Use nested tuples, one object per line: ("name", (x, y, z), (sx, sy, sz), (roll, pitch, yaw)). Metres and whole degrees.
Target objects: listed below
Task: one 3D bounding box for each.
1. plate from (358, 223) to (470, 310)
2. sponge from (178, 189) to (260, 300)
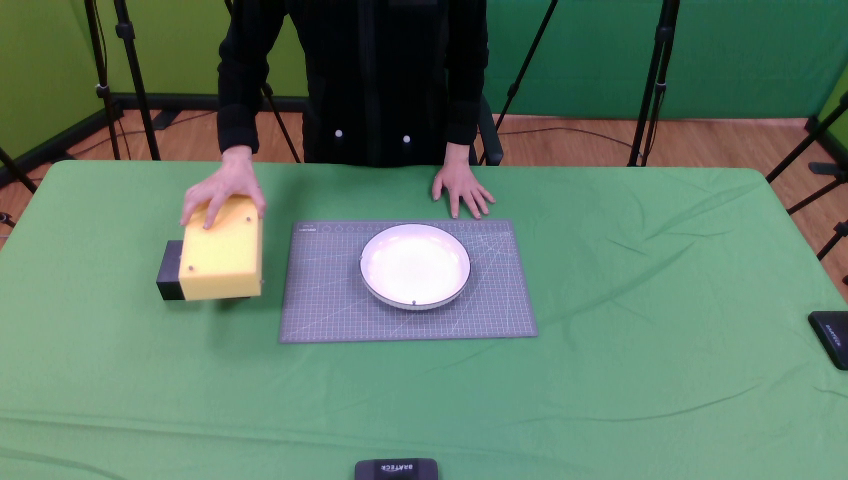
("plate", (-0.019, 0.052, 1.132), (0.209, 0.038, 0.208), (2, 46, -2))
("sponge", (-0.347, 0.003, 1.047), (0.118, 0.061, 0.205), (-5, 46, -10))
